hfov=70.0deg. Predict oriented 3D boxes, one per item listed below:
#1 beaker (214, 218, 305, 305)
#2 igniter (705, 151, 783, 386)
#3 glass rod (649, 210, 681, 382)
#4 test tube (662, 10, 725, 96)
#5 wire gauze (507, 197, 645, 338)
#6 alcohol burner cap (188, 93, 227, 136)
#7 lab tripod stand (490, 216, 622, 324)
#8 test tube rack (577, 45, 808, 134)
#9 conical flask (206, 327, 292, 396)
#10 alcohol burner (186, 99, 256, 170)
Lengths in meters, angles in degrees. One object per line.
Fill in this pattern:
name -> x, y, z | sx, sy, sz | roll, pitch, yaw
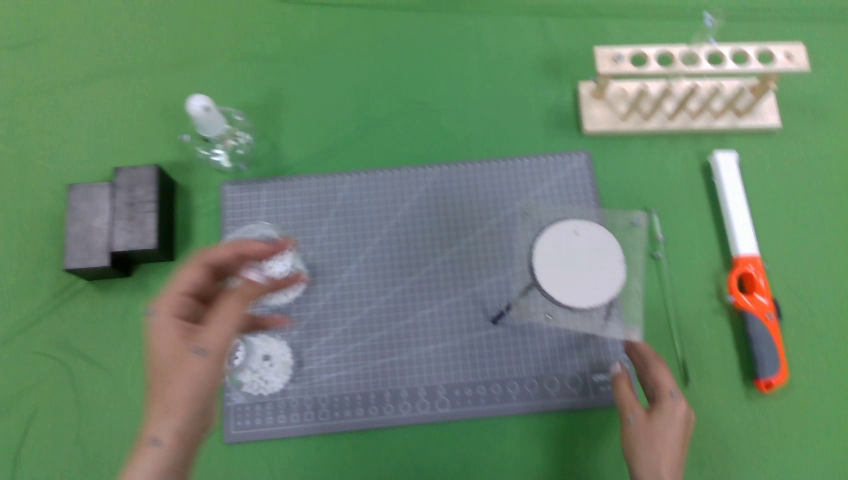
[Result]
beaker -> -0.167, 0.029, 0.648 | 0.084, 0.101, 0.074 | 30, 76, 7
igniter -> 0.367, 0.027, 0.698 | 0.057, 0.025, 0.275 | -1, 74, -11
glass rod -> 0.276, 0.061, 0.696 | 0.008, 0.008, 0.198 | -4, 77, -2
test tube -> 0.299, -0.205, 0.681 | 0.017, 0.151, 0.017 | 0, 74, 2
wire gauze -> 0.144, 0.022, 0.567 | 0.125, 0.011, 0.121 | 9, 75, 2
alcohol burner cap -> -0.235, -0.138, 0.653 | 0.034, 0.048, 0.033 | 0, 67, -1
lab tripod stand -> 0.140, 0.041, 0.632 | 0.148, 0.132, 0.147 | 0, 75, 0
test tube rack -> 0.316, -0.178, 0.725 | 0.242, 0.085, 0.066 | -1, 73, -1
conical flask -> -0.181, 0.117, 0.611 | 0.075, 0.122, 0.075 | 0, 74, -1
alcohol burner -> -0.235, -0.126, 0.687 | 0.078, 0.119, 0.077 | 0, 75, 1
